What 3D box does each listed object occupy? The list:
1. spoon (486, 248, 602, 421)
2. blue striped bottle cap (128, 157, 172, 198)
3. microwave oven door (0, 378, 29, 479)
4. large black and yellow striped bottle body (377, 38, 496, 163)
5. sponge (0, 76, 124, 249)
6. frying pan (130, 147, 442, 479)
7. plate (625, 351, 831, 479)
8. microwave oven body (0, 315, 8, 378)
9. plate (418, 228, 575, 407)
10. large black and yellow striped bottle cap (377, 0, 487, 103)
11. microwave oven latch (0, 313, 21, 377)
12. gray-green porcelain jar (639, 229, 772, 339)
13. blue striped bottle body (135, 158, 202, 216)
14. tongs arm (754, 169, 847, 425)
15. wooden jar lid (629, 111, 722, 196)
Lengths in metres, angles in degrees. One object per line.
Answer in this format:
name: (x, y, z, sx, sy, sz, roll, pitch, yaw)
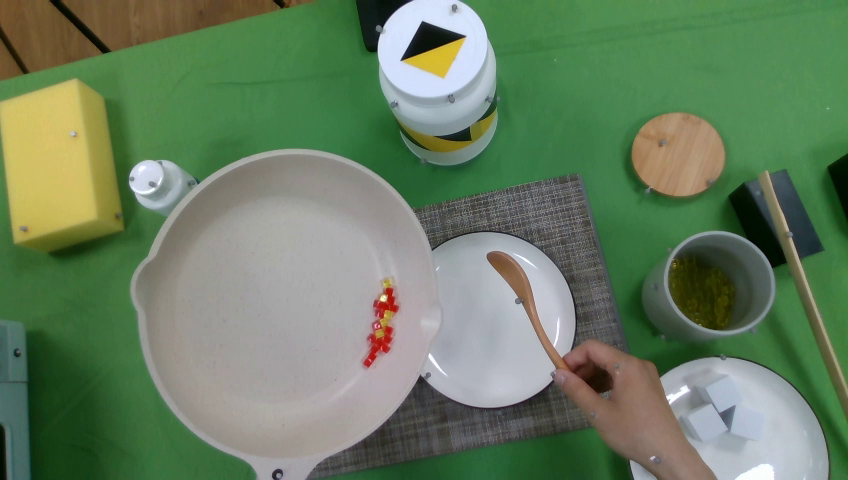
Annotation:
spoon: (0.115, 0.090, 0.586, 0.022, 0.041, 0.193, -23, 81, -30)
blue striped bottle cap: (-0.320, -0.073, 0.707, 0.044, 0.021, 0.044, -1, 79, 6)
microwave oven door: (-0.506, 0.322, 0.618, 0.039, 0.245, 0.354, -12, 77, 5)
large black and yellow striped bottle body: (0.018, -0.180, 0.710, 0.130, 0.185, 0.130, -1, 77, 7)
sponge: (-0.492, -0.103, 0.817, 0.118, 0.061, 0.205, -17, 77, 3)
frying pan: (-0.131, 0.160, 0.569, 0.309, 0.102, 0.485, 13, 75, -32)
plate: (0.325, 0.227, 0.663, 0.207, 0.039, 0.206, -1, 78, 7)
microwave oven body: (-0.655, 0.311, 0.643, 0.326, 0.261, 0.439, -11, 77, 4)
plate: (0.072, 0.090, 0.718, 0.209, 0.038, 0.208, -1, 78, 7)
large black and yellow striped bottle cap: (0.009, -0.199, 0.628, 0.115, 0.019, 0.114, -1, 79, 7)
microwave oven latch: (-0.531, 0.133, 0.765, 0.030, 0.029, 0.079, -6, 78, 5)
gray-green porcelain jar: (0.296, 0.053, 0.657, 0.106, 0.127, 0.105, -1, 78, 7)
blue striped bottle body: (-0.313, -0.061, 0.756, 0.063, 0.121, 0.063, -1, 77, 7)
tongs arm: (0.441, 0.101, 0.647, 0.051, 0.026, 0.384, -17, 87, 1)
wooden jar lid: (0.306, -0.105, 0.744, 0.108, 0.021, 0.108, -1, 80, 7)
